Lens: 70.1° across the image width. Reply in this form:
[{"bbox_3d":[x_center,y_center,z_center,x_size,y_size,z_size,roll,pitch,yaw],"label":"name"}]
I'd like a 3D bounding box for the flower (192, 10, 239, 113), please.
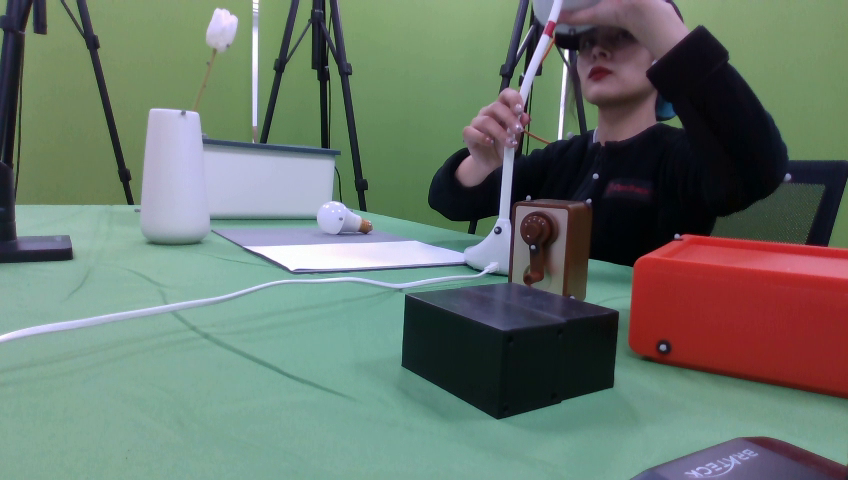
[{"bbox_3d":[-0.354,-0.174,0.915,0.038,0.361,0.044,17,-3,12],"label":"flower"}]

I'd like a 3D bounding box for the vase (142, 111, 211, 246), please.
[{"bbox_3d":[-0.378,-0.093,0.920,0.098,0.200,0.098,2,9,0],"label":"vase"}]

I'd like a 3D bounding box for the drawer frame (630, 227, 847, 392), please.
[{"bbox_3d":[0.292,0.043,0.484,0.201,0.082,0.214,7,9,29],"label":"drawer frame"}]

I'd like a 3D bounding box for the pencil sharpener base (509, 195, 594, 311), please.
[{"bbox_3d":[0.126,0.011,0.601,0.061,0.107,0.077,7,9,30],"label":"pencil sharpener base"}]

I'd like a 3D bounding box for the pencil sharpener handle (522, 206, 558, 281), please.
[{"bbox_3d":[0.102,0.003,0.555,0.036,0.067,0.031,0,6,31],"label":"pencil sharpener handle"}]

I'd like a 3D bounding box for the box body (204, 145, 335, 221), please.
[{"bbox_3d":[-0.411,-0.135,1.386,0.366,0.160,0.253,-2,9,-29],"label":"box body"}]

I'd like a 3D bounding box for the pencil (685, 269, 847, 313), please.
[{"bbox_3d":[0.308,0.045,0.516,0.194,0.012,0.012,13,5,-11],"label":"pencil"}]

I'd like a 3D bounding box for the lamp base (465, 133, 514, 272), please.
[{"bbox_3d":[0.134,-0.052,0.808,0.160,0.180,0.180,7,12,26],"label":"lamp base"}]

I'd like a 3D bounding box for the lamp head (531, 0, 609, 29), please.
[{"bbox_3d":[0.190,-0.355,0.801,0.112,0.112,0.123,4,-4,18],"label":"lamp head"}]

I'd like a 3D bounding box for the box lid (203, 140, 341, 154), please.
[{"bbox_3d":[-0.396,-0.213,1.373,0.373,0.015,0.262,-1,9,-29],"label":"box lid"}]

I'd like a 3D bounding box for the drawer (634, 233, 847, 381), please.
[{"bbox_3d":[0.292,0.045,0.488,0.193,0.073,0.213,7,10,30],"label":"drawer"}]

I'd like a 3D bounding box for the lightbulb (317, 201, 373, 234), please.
[{"bbox_3d":[-0.143,-0.036,1.109,0.108,0.059,0.059,16,0,-28],"label":"lightbulb"}]
